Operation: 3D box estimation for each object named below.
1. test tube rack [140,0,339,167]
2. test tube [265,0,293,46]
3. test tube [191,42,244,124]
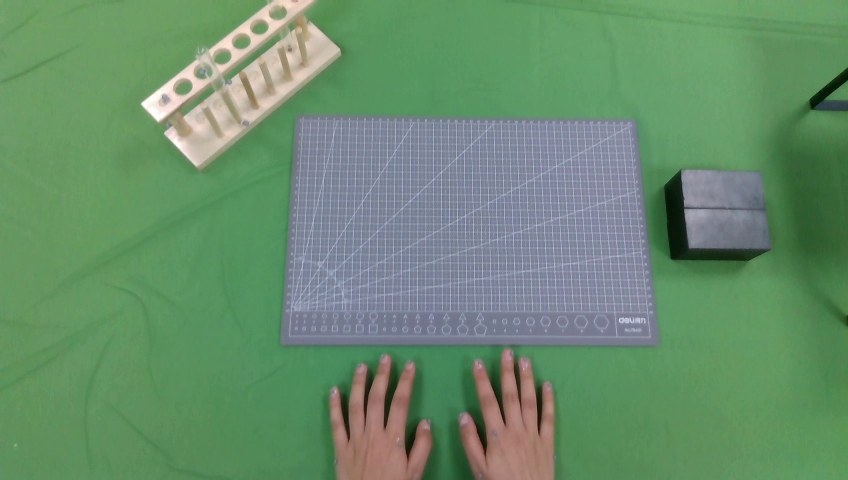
[{"bbox_3d":[-0.221,-0.206,0.758,0.066,0.085,0.242,44,77,10],"label":"test tube rack"},{"bbox_3d":[-0.182,-0.285,0.731,0.017,0.151,0.017,0,71,1],"label":"test tube"},{"bbox_3d":[-0.237,-0.179,0.704,0.017,0.151,0.017,0,71,0],"label":"test tube"}]
